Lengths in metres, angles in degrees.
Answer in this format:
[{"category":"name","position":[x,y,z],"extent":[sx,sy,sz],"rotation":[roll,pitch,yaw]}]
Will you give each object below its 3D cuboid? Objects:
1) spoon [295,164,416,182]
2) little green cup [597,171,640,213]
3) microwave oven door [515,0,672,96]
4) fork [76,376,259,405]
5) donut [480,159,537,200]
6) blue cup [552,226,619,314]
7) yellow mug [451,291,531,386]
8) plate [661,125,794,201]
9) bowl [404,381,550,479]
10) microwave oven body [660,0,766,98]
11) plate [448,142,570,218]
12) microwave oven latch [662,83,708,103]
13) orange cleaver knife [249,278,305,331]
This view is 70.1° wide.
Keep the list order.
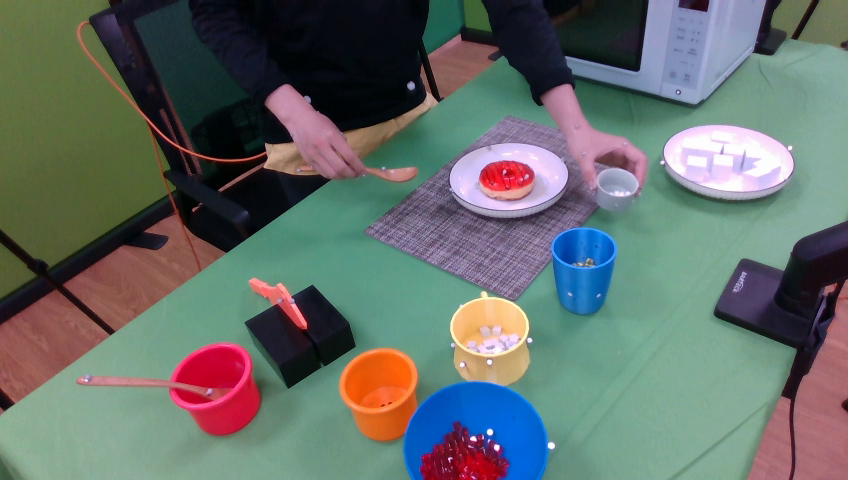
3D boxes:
[{"category":"spoon","position":[-0.109,-0.112,0.972],"extent":[0.194,0.022,0.041],"rotation":[5,34,-2]},{"category":"little green cup","position":[0.294,-0.072,0.924],"extent":[0.061,0.039,0.061],"rotation":[1,47,0]},{"category":"microwave oven door","position":[0.344,-0.455,1.260],"extent":[0.353,0.245,0.039],"rotation":[26,51,33]},{"category":"fork","position":[-0.295,0.176,0.716],"extent":[0.209,0.018,0.028],"rotation":[19,27,-36]},{"category":"donut","position":[0.145,-0.106,1.043],"extent":[0.099,0.048,0.098],"rotation":[-4,38,4]},{"category":"blue cup","position":[0.218,0.047,0.825],"extent":[0.092,0.101,0.092],"rotation":[-6,40,5]},{"category":"yellow mug","position":[0.085,0.120,0.786],"extent":[0.100,0.064,0.130],"rotation":[-7,39,1]},{"category":"plate","position":[0.514,-0.128,1.035],"extent":[0.207,0.039,0.206],"rotation":[-4,40,4]},{"category":"bowl","position":[0.058,0.235,0.645],"extent":[0.151,0.077,0.150],"rotation":[-4,39,4]},{"category":"microwave oven body","position":[0.473,-0.514,1.317],"extent":[0.438,0.261,0.327],"rotation":[26,51,34]},{"category":"plate","position":[0.148,-0.101,1.053],"extent":[0.209,0.038,0.208],"rotation":[-4,40,4]},{"category":"microwave oven latch","position":[0.518,-0.297,1.205],"extent":[0.078,0.029,0.030],"rotation":[28,52,35]},{"category":"orange cleaver knife","position":[-0.210,0.088,0.856],"extent":[0.012,0.077,0.210],"rotation":[-28,15,-25]}]
